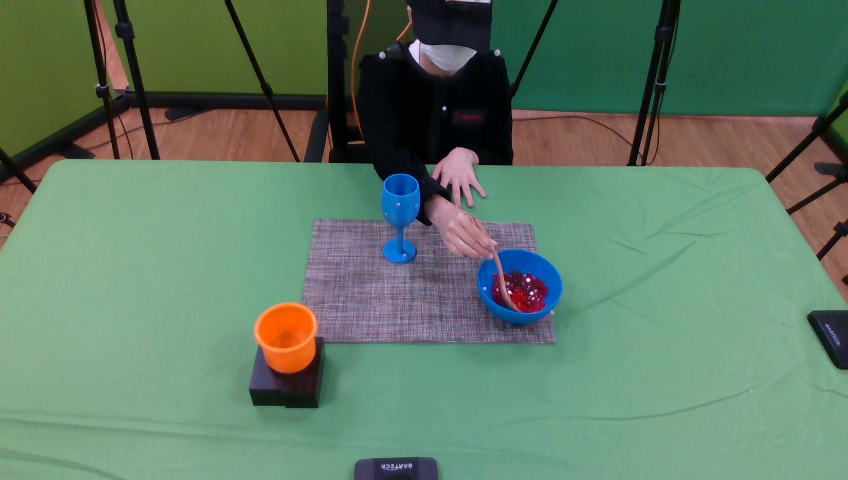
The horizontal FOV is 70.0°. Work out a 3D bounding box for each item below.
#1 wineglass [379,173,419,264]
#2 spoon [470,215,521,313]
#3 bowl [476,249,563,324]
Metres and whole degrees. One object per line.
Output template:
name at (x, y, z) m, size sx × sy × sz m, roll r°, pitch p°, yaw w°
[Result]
wineglass at (-0.046, -0.037, 1.120) m, size 0.074 × 0.173 × 0.073 m, roll 2°, pitch 46°, yaw -2°
spoon at (0.124, 0.043, 1.053) m, size 0.021 × 0.194 × 0.041 m, roll -21°, pitch 7°, yaw 10°
bowl at (0.164, 0.096, 1.073) m, size 0.151 × 0.077 × 0.150 m, roll 2°, pitch 46°, yaw -2°
